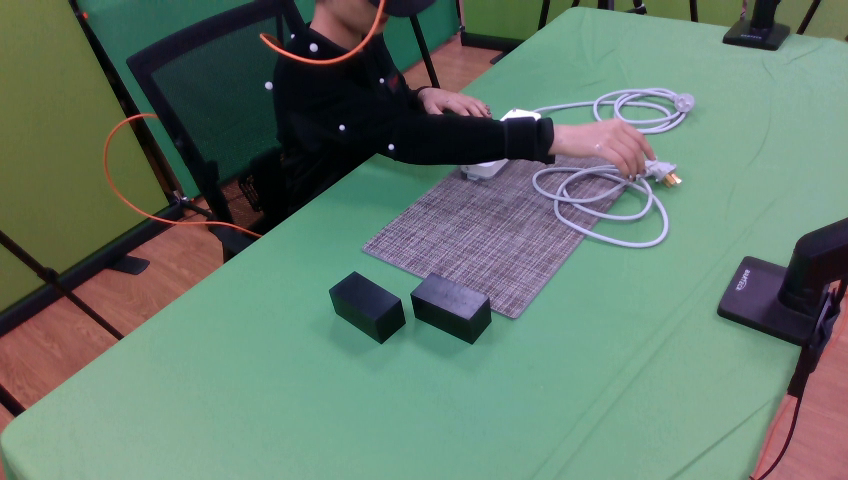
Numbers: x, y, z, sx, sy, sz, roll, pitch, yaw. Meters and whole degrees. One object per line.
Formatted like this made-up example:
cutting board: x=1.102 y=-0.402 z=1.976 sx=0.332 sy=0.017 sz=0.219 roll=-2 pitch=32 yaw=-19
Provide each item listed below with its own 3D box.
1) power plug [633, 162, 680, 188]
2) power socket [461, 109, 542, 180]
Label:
power plug: x=0.396 y=-0.102 z=1.027 sx=0.072 sy=0.035 sz=0.052 roll=-35 pitch=69 yaw=-4
power socket: x=0.151 y=-0.188 z=1.163 sx=0.071 sy=0.033 sz=0.227 roll=21 pitch=48 yaw=30
